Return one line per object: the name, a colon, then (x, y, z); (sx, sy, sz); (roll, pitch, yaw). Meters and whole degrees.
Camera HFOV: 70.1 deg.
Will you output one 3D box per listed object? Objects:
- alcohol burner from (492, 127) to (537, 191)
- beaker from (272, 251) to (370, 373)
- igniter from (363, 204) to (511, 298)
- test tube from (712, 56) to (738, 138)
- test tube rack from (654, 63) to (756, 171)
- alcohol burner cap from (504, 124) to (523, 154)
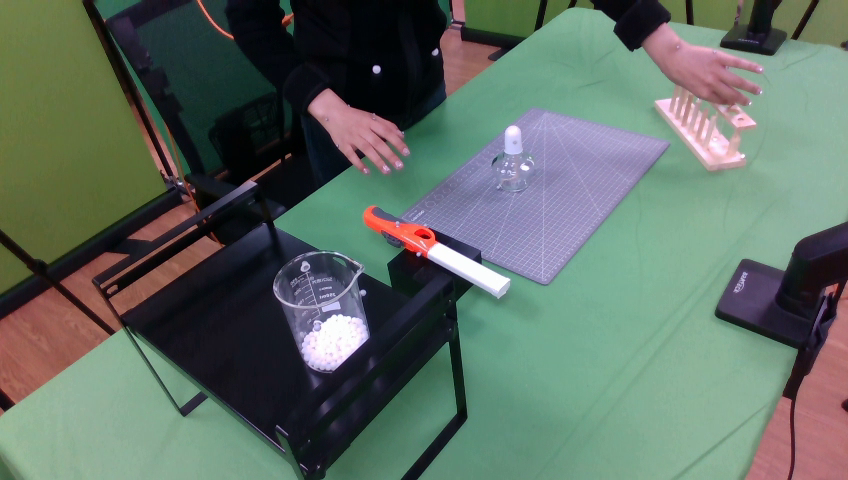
alcohol burner: (0.156, -0.146, 1.046); (0.078, 0.119, 0.077); (-4, 43, 4)
beaker: (-0.090, 0.070, 0.571); (0.084, 0.101, 0.073); (-18, 42, -13)
igniter: (0.007, 0.009, 0.887); (0.274, 0.025, 0.057); (29, 50, 32)
test tube: (0.525, -0.247, 1.057); (0.017, 0.151, 0.017); (-4, 38, 4)
test tube rack: (0.511, -0.233, 1.120); (0.067, 0.085, 0.241); (-8, 41, -1)
alcohol burner cap: (0.151, -0.172, 1.022); (0.034, 0.048, 0.033); (-4, 36, 3)
